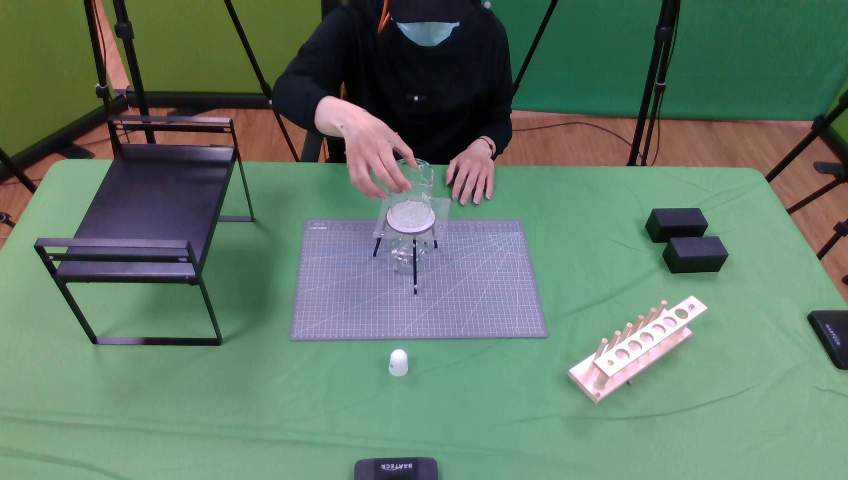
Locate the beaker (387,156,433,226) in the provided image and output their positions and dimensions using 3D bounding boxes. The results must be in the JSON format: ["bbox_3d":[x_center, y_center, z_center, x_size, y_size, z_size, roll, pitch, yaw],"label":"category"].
[{"bbox_3d":[-0.020,-0.079,1.023,0.083,0.101,0.074,29,51,25],"label":"beaker"}]

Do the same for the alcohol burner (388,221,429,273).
[{"bbox_3d":[-0.028,0.006,1.118,0.078,0.119,0.077,2,48,-2],"label":"alcohol burner"}]

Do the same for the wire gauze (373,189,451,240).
[{"bbox_3d":[-0.019,-0.044,1.060,0.121,0.011,0.124,7,43,4],"label":"wire gauze"}]

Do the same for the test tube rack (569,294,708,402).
[{"bbox_3d":[0.360,0.167,1.014,0.242,0.085,0.066,-25,53,-25],"label":"test tube rack"}]

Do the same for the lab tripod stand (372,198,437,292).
[{"bbox_3d":[-0.025,-0.002,1.112,0.148,0.132,0.147,2,44,-2],"label":"lab tripod stand"}]

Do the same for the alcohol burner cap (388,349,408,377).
[{"bbox_3d":[-0.042,0.197,0.989,0.034,0.048,0.033,3,46,-2],"label":"alcohol burner cap"}]
